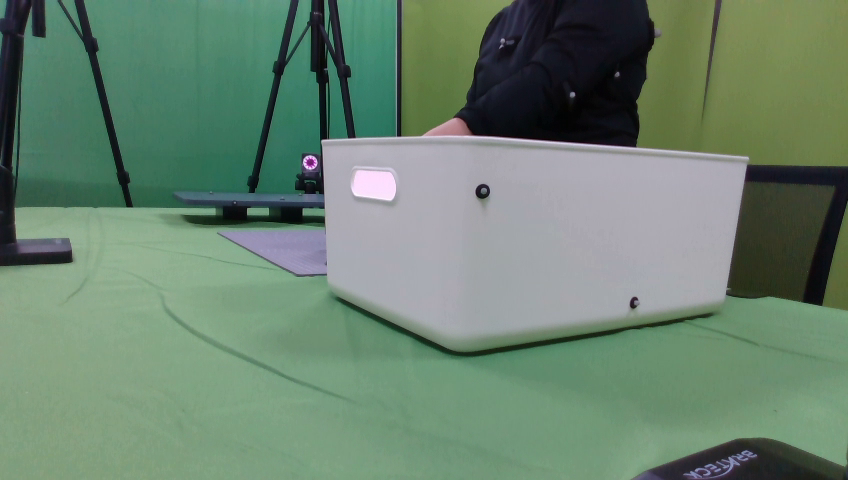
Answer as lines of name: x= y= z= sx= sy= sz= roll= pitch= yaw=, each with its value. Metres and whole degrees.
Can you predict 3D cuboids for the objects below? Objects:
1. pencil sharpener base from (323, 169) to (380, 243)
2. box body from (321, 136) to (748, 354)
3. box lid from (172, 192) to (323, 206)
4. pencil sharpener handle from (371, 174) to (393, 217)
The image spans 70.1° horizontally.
pencil sharpener base: x=-0.109 y=-0.054 z=0.922 sx=0.077 sy=0.107 sz=0.061 roll=-4 pitch=10 yaw=-27
box body: x=0.105 y=-0.011 z=0.604 sx=0.366 sy=0.160 sz=0.253 roll=-2 pitch=8 yaw=-33
box lid: x=-0.355 y=-0.091 z=1.350 sx=0.373 sy=0.015 sz=0.262 roll=-1 pitch=8 yaw=-29
pencil sharpener handle: x=-0.064 y=-0.069 z=0.945 sx=0.031 sy=0.067 sz=0.036 roll=-4 pitch=15 yaw=-27
